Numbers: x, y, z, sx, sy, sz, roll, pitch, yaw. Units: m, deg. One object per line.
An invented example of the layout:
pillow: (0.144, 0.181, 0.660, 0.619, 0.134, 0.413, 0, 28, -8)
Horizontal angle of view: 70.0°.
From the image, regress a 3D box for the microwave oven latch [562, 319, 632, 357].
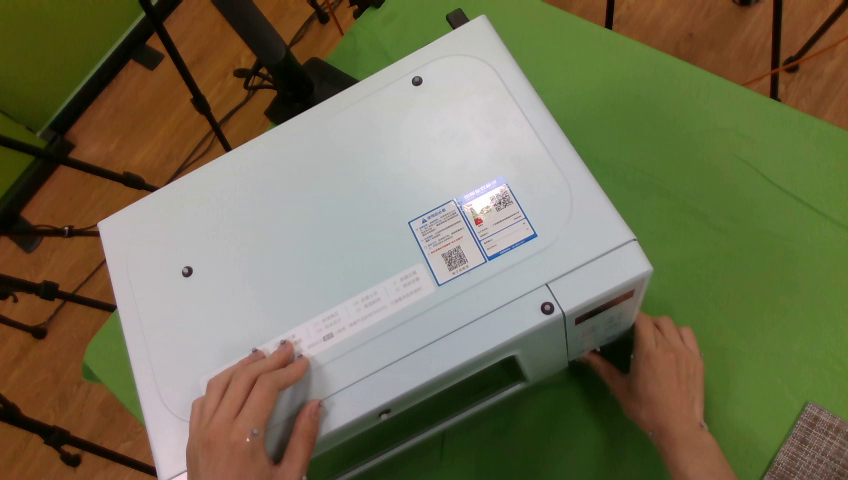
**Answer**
microwave oven latch: (0.189, 0.100, 0.671, 0.079, 0.030, 0.030, -27, 66, 3)

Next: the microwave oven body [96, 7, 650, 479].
microwave oven body: (-0.050, 0.029, 0.650, 0.442, 0.262, 0.323, -28, 66, 3)

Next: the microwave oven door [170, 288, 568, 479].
microwave oven door: (-0.029, 0.166, 0.588, 0.356, 0.246, 0.039, -28, 65, 2)
